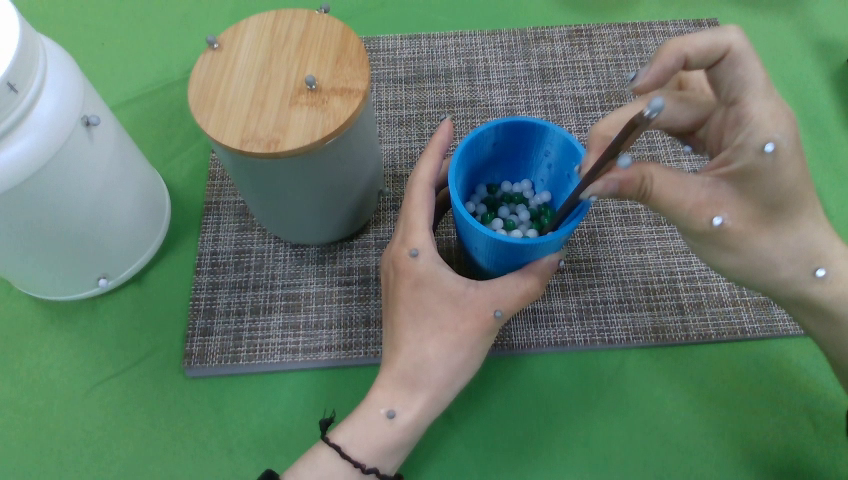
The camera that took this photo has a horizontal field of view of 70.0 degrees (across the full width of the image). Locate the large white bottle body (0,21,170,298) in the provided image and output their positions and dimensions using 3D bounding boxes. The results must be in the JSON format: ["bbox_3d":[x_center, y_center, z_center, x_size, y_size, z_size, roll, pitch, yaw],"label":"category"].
[{"bbox_3d":[-0.263,-0.053,0.390,0.130,0.186,0.129,0,63,1],"label":"large white bottle body"}]

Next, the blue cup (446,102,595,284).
[{"bbox_3d":[0.056,-0.017,0.390,0.092,0.101,0.092,0,65,0],"label":"blue cup"}]

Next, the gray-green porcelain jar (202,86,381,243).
[{"bbox_3d":[-0.085,-0.065,0.422,0.106,0.127,0.105,-1,64,1],"label":"gray-green porcelain jar"}]

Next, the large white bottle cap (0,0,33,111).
[{"bbox_3d":[-0.266,-0.091,0.315,0.115,0.018,0.114,0,64,1],"label":"large white bottle cap"}]

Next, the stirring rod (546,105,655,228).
[{"bbox_3d":[0.082,-0.025,0.319,0.014,0.177,0.006,-36,79,-11],"label":"stirring rod"}]

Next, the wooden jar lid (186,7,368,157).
[{"bbox_3d":[-0.087,-0.094,0.366,0.108,0.021,0.107,-2,64,4],"label":"wooden jar lid"}]
